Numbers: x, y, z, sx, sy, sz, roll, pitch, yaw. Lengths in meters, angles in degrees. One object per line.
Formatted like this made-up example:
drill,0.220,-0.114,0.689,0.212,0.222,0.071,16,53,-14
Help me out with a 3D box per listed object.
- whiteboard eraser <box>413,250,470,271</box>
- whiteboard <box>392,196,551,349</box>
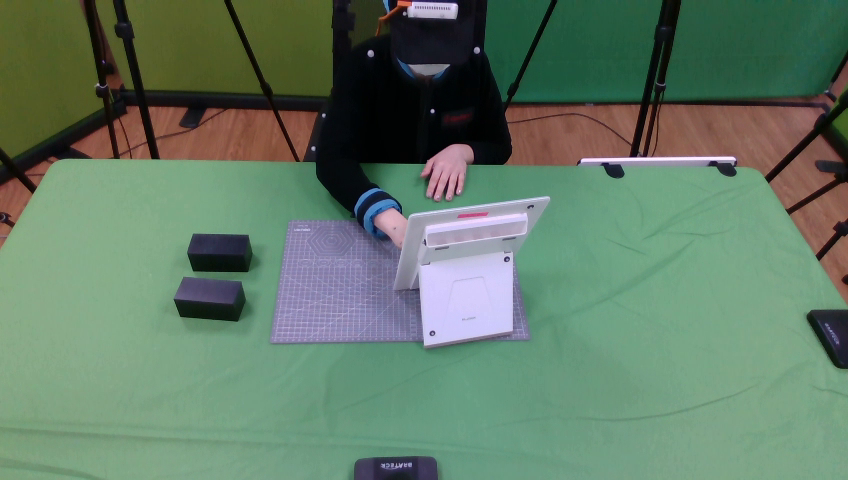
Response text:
whiteboard eraser,0.031,0.036,1.073,0.101,0.041,0.018,-12,73,6
whiteboard,0.077,0.071,0.977,0.217,0.306,0.143,-7,67,-11
